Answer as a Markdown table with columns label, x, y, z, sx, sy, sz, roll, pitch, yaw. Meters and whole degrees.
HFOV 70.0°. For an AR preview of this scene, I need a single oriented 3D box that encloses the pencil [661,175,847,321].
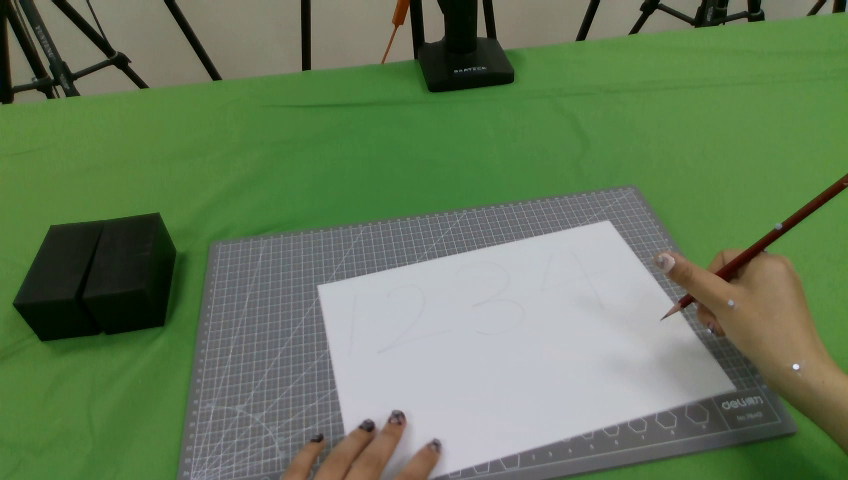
| label | x | y | z | sx | sy | sz | roll | pitch | yaw |
| --- | --- | --- | --- | --- | --- | --- | --- | --- | --- |
| pencil | 0.248 | 0.002 | 0.438 | 0.012 | 0.194 | 0.012 | 32 | 29 | -20 |
